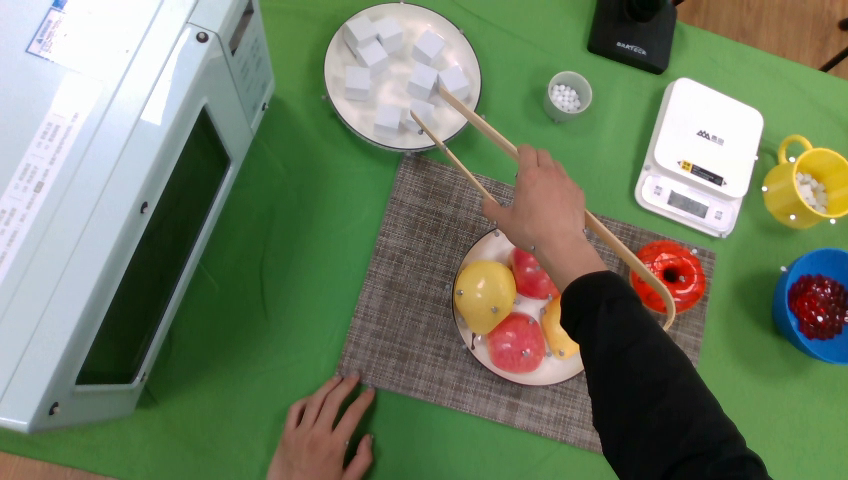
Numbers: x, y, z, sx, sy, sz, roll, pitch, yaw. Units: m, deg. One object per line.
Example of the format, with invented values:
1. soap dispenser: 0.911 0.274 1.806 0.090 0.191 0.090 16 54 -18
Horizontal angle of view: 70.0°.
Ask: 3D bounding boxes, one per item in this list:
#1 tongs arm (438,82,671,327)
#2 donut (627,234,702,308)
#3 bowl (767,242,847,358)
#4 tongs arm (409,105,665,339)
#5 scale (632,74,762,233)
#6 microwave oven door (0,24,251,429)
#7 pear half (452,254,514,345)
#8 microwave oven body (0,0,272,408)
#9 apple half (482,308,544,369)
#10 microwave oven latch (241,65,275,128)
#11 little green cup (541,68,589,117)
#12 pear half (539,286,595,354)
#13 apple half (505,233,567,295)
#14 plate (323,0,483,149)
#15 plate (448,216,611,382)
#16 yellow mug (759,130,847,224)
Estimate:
1. tongs arm: 0.135 -0.054 0.681 0.028 0.028 0.384 -37 68 -10
2. donut: 0.314 0.041 0.797 0.099 0.048 0.098 1 77 -6
3. bowl: 0.517 0.083 0.807 0.152 0.077 0.150 2 79 -8
4. tongs arm: 0.112 -0.035 0.677 0.051 0.027 0.381 -36 68 -6
5. scale: 0.384 -0.123 0.851 0.149 0.031 0.200 22 77 -3
6. microwave oven door: -0.268 -0.001 0.597 0.039 0.244 0.354 20 76 -4
7. pear half: 0.072 0.074 0.733 0.077 0.056 0.109 12 80 -16
8. microwave oven body: -0.392 -0.089 0.601 0.326 0.260 0.440 20 77 -5
9. apple half: 0.112 0.120 0.743 0.081 0.033 0.081 3 71 -9
10. microwave oven latch: -0.211 -0.181 0.747 0.030 0.029 0.079 22 77 -4
11. little green cup: 0.192 -0.201 0.833 0.062 0.039 0.061 2 78 -8
12. pear half: 0.180 0.099 0.760 0.070 0.031 0.087 16 74 8
13. apple half: 0.142 0.028 0.758 0.075 0.053 0.080 6 81 -4
14. plate: -0.028 -0.215 0.802 0.208 0.039 0.206 2 78 -9
15. plate: 0.132 0.074 0.765 0.209 0.038 0.208 2 78 -9
16. yellow mug: 0.531 -0.093 0.850 0.100 0.064 0.130 -15 80 -11
